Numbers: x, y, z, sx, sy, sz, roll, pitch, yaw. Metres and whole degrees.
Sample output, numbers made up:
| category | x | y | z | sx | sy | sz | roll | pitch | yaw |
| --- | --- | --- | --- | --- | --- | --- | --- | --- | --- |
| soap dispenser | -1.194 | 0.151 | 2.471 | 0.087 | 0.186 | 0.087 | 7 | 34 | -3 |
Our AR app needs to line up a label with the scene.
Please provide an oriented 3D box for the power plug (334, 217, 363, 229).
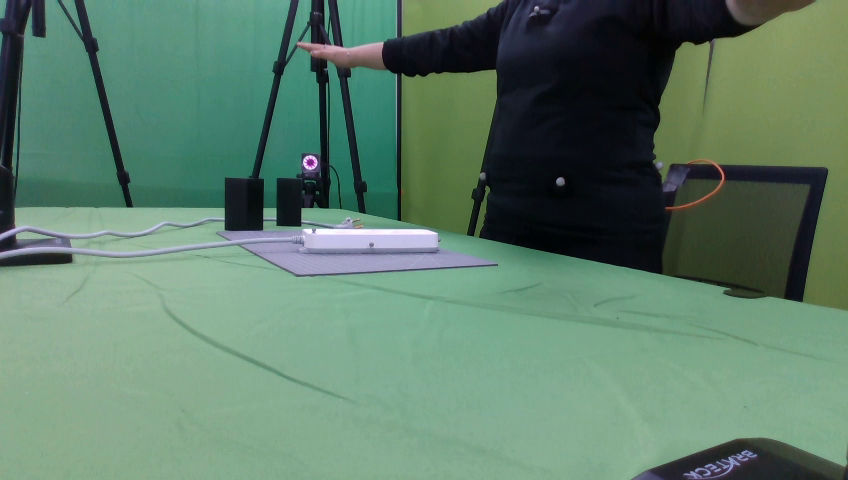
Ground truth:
| category | x | y | z | sx | sy | sz | roll | pitch | yaw |
| --- | --- | --- | --- | --- | --- | --- | --- | --- | --- |
| power plug | -0.143 | -0.031 | 1.129 | 0.053 | 0.035 | 0.072 | -16 | 22 | -9 |

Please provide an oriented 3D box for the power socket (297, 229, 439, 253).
| category | x | y | z | sx | sy | sz | roll | pitch | yaw |
| --- | --- | --- | --- | --- | --- | --- | --- | --- | --- |
| power socket | -0.084 | 0.000 | 0.942 | 0.228 | 0.032 | 0.072 | 0 | 7 | -20 |
